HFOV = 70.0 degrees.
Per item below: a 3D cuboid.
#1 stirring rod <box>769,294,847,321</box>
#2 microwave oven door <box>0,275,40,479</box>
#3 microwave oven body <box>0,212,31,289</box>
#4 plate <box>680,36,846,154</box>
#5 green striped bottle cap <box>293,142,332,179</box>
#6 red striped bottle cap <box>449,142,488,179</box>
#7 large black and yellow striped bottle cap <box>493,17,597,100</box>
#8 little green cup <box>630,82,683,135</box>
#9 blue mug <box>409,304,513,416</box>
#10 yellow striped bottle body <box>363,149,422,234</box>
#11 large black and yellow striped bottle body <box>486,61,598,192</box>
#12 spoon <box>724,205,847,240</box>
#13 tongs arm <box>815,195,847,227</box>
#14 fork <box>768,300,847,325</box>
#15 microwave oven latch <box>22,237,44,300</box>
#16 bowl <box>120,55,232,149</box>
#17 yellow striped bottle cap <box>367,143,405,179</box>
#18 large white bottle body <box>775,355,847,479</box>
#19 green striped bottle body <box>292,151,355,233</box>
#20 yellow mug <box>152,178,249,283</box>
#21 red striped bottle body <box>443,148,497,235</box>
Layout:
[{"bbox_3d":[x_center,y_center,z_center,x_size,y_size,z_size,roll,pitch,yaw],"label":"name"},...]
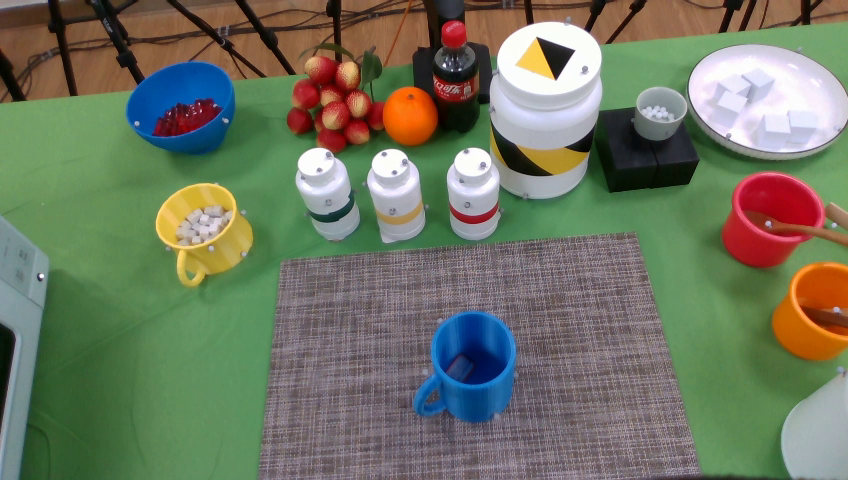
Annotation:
[{"bbox_3d":[0.428,0.077,0.605,0.014,0.006,0.175,-27,18,-17],"label":"stirring rod"},{"bbox_3d":[-0.458,0.163,0.549,0.039,0.246,0.352,-13,58,-2],"label":"microwave oven door"},{"bbox_3d":[-0.609,0.163,0.568,0.326,0.262,0.437,-12,59,-3],"label":"microwave oven body"},{"bbox_3d":[0.457,-0.196,0.831,0.209,0.038,0.207,-2,59,4],"label":"plate"},{"bbox_3d":[-0.131,-0.093,0.709,0.044,0.020,0.044,-1,57,2],"label":"green striped bottle cap"},{"bbox_3d":[0.051,-0.091,0.692,0.044,0.018,0.044,0,57,0],"label":"red striped bottle cap"},{"bbox_3d":[0.135,-0.205,0.677,0.115,0.019,0.114,-4,59,6],"label":"large black and yellow striped bottle cap"},{"bbox_3d":[0.291,-0.165,0.766,0.061,0.039,0.061,-1,56,2],"label":"little green cup"},{"bbox_3d":[0.035,0.134,0.620,0.116,0.107,0.081,-32,60,-14],"label":"blue mug"},{"bbox_3d":[-0.038,-0.064,0.745,0.063,0.121,0.062,-3,57,5],"label":"yellow striped bottle body"},{"bbox_3d":[0.142,-0.160,0.751,0.131,0.185,0.129,-2,58,4],"label":"large black and yellow striped bottle body"},{"bbox_3d":[0.407,-0.017,0.663,0.042,0.192,0.022,-20,103,-11],"label":"spoon"},{"bbox_3d":[0.621,0.058,0.661,0.051,0.027,0.381,-36,63,-20],"label":"tongs arm"},{"bbox_3d":[0.457,0.061,0.607,0.207,0.019,0.028,-21,41,47],"label":"fork"},{"bbox_3d":[-0.493,0.038,0.750,0.030,0.030,0.078,-12,59,-3],"label":"microwave oven latch"},{"bbox_3d":[-0.341,-0.184,0.870,0.151,0.077,0.150,-2,58,3],"label":"bowl"},{"bbox_3d":[-0.044,-0.092,0.700,0.044,0.019,0.044,0,55,0],"label":"yellow striped bottle cap"},{"bbox_3d":[0.409,0.162,0.527,0.130,0.186,0.129,-2,58,4],"label":"large white bottle body"},{"bbox_3d":[-0.125,-0.066,0.754,0.063,0.120,0.062,-2,58,4],"label":"green striped bottle body"},{"bbox_3d":[-0.285,-0.008,0.764,0.100,0.064,0.130,4,59,7],"label":"yellow mug"},{"bbox_3d":[0.057,-0.063,0.736,0.063,0.121,0.062,-4,57,6],"label":"red striped bottle body"}]
